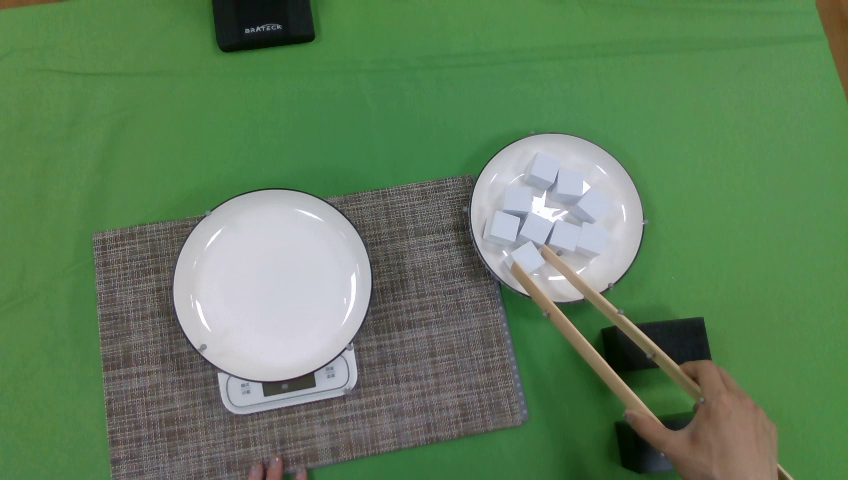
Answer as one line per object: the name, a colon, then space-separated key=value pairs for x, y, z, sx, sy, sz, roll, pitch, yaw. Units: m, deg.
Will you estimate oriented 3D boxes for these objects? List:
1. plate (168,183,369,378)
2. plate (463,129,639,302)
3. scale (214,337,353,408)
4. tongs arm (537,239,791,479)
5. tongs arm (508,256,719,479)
plate: x=-0.163 y=0.042 z=0.653 sx=0.209 sy=0.038 sz=0.208 roll=1 pitch=78 yaw=-4
plate: x=0.148 y=-0.028 z=0.723 sx=0.208 sy=0.039 sz=0.206 roll=1 pitch=78 yaw=-4
scale: x=-0.165 y=0.078 z=0.679 sx=0.149 sy=0.031 sz=0.200 roll=-9 pitch=79 yaw=-6
tongs arm: x=0.234 y=0.138 z=0.610 sx=0.051 sy=0.027 sz=0.381 roll=-32 pitch=61 yaw=-23
tongs arm: x=0.211 y=0.151 z=0.601 sx=0.028 sy=0.028 sz=0.384 roll=-28 pitch=59 yaw=-24
